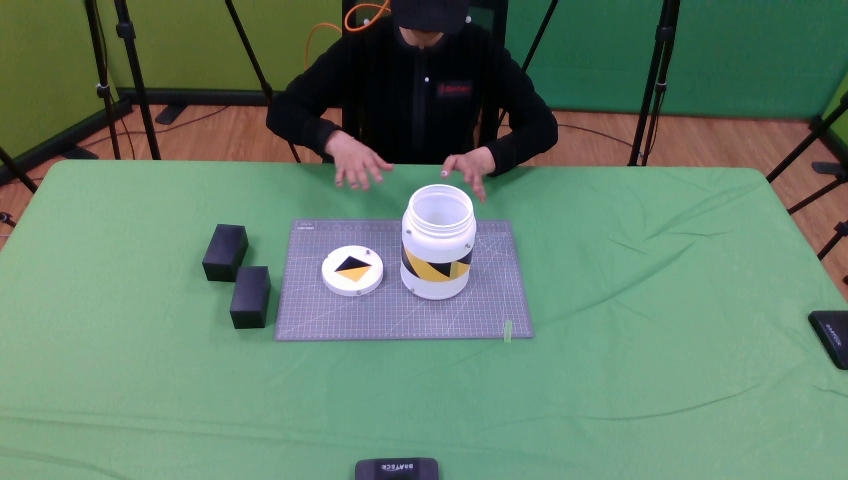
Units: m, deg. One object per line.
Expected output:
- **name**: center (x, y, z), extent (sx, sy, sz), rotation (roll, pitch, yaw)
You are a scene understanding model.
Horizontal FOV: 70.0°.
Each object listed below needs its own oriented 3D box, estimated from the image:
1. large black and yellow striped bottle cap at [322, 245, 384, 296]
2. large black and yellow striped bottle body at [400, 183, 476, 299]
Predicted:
- **large black and yellow striped bottle cap**: center (-0.133, 0.055, 1.135), extent (0.115, 0.019, 0.114), rotation (2, 47, -2)
- **large black and yellow striped bottle body**: center (0.024, 0.003, 1.079), extent (0.131, 0.185, 0.130), rotation (2, 46, -2)
